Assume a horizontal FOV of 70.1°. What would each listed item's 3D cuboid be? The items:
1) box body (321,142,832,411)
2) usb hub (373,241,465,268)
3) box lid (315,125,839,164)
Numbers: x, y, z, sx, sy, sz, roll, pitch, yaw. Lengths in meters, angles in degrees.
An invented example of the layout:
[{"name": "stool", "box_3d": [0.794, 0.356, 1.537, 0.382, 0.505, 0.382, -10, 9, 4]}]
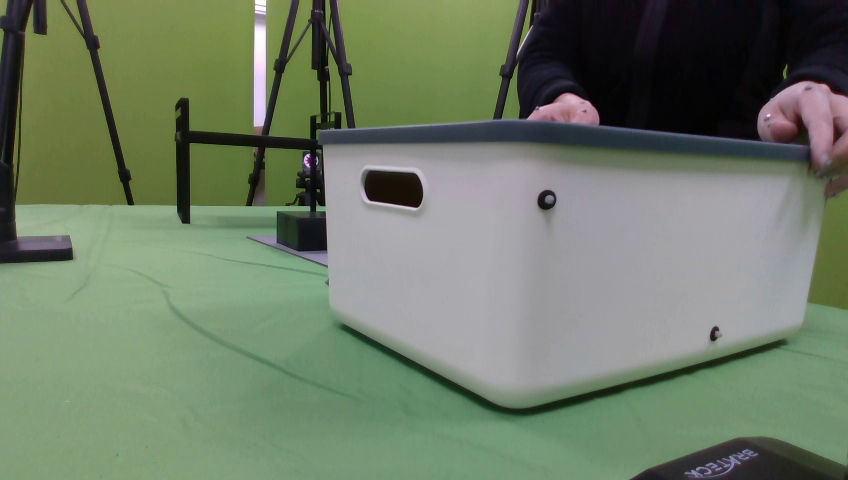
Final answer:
[{"name": "box body", "box_3d": [0.122, -0.001, 0.504, 0.366, 0.160, 0.253, -3, 9, -34]}, {"name": "usb hub", "box_3d": [-0.005, 0.018, 0.826, 0.126, 0.025, 0.049, -3, 9, -39]}, {"name": "box lid", "box_3d": [0.126, -0.073, 0.495, 0.373, 0.015, 0.262, -3, 10, -34]}]
